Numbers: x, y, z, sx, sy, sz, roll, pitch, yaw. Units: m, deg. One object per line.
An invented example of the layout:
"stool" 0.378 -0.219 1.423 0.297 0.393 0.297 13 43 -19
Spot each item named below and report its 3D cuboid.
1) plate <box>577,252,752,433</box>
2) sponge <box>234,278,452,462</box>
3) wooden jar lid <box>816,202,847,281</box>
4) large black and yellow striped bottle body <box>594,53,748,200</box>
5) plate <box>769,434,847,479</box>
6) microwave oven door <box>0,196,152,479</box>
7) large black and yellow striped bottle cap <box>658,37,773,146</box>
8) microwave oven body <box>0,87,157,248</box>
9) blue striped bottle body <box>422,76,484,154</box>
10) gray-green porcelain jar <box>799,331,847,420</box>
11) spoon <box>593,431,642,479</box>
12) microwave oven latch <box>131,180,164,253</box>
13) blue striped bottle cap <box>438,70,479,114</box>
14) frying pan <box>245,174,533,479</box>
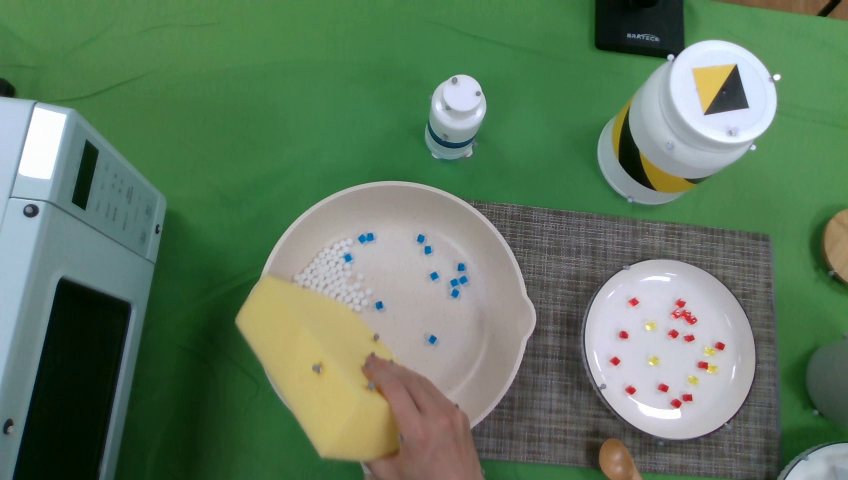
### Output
"plate" 0.278 0.118 0.714 0.209 0.038 0.208 1 78 -5
"sponge" -0.085 0.121 0.584 0.204 0.119 0.061 35 98 44
"wooden jar lid" 0.555 0.005 0.780 0.108 0.021 0.108 1 79 -5
"large black and yellow striped bottle body" 0.289 -0.133 0.699 0.131 0.184 0.130 1 77 -5
"plate" 0.482 0.328 0.694 0.208 0.039 0.206 1 77 -5
"microwave oven door" -0.324 0.163 0.522 0.039 0.244 0.354 6 77 -4
"large black and yellow striped bottle cap" 0.296 -0.152 0.615 0.115 0.019 0.114 1 76 -5
"microwave oven body" -0.464 0.106 0.525 0.326 0.261 0.439 7 78 -5
"blue striped bottle body" 0.034 -0.150 0.707 0.063 0.121 0.063 1 77 -5
"gray-green porcelain jar" 0.509 0.154 0.689 0.106 0.127 0.105 1 77 -5
"spoon" 0.258 0.293 0.683 0.193 0.022 0.041 47 61 4
"microwave oven latch" -0.309 -0.027 0.669 0.030 0.029 0.079 9 78 -4
"blue striped bottle cap" 0.038 -0.161 0.657 0.044 0.021 0.044 1 75 -4
"frying pan" -0.043 0.172 0.636 0.307 0.103 0.484 5 69 -2
